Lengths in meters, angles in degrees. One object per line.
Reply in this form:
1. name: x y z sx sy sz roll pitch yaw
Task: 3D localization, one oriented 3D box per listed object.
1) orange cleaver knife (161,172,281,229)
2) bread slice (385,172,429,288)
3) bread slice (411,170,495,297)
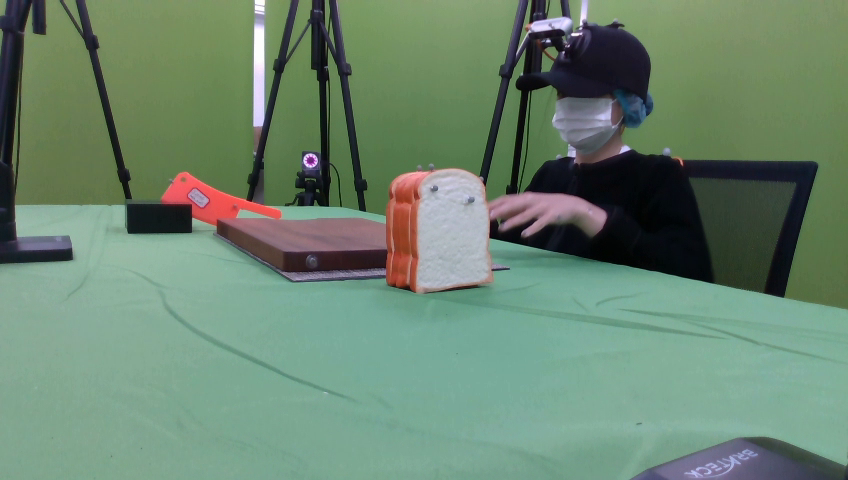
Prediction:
1. orange cleaver knife: -0.372 -0.061 1.121 0.212 0.077 0.012 20 -6 -30
2. bread slice: 0.001 -0.013 0.705 0.105 0.131 0.019 -1 1 -33
3. bread slice: 0.028 -0.009 0.660 0.107 0.134 0.018 -9 7 -36
